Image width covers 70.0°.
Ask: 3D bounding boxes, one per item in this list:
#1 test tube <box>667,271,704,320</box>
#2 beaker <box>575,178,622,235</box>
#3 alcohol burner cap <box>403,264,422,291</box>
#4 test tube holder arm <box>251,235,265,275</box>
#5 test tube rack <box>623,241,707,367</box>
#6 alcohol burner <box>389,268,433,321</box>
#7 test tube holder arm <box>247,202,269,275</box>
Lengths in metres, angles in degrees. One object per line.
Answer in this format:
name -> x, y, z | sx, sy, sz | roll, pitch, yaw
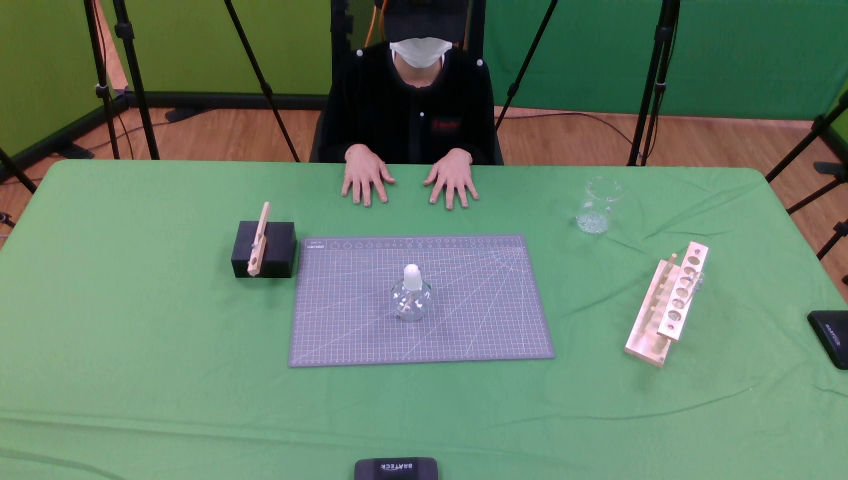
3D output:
test tube -> 0.432, 0.104, 1.019 | 0.017, 0.151, 0.017 | 3, 48, -3
beaker -> 0.356, -0.068, 1.240 | 0.084, 0.101, 0.073 | -18, 50, -21
alcohol burner cap -> -0.021, 0.060, 1.021 | 0.034, 0.048, 0.033 | -2, 47, 2
test tube holder arm -> -0.297, 0.025, 1.084 | 0.010, 0.015, 0.087 | -6, 46, 2
test tube rack -> 0.435, 0.104, 1.089 | 0.066, 0.085, 0.242 | 24, 49, 18
alcohol burner -> -0.022, 0.086, 1.046 | 0.078, 0.119, 0.077 | 2, 48, -2
test tube holder arm -> -0.304, -0.006, 1.116 | 0.013, 0.015, 0.177 | -6, 46, 2
